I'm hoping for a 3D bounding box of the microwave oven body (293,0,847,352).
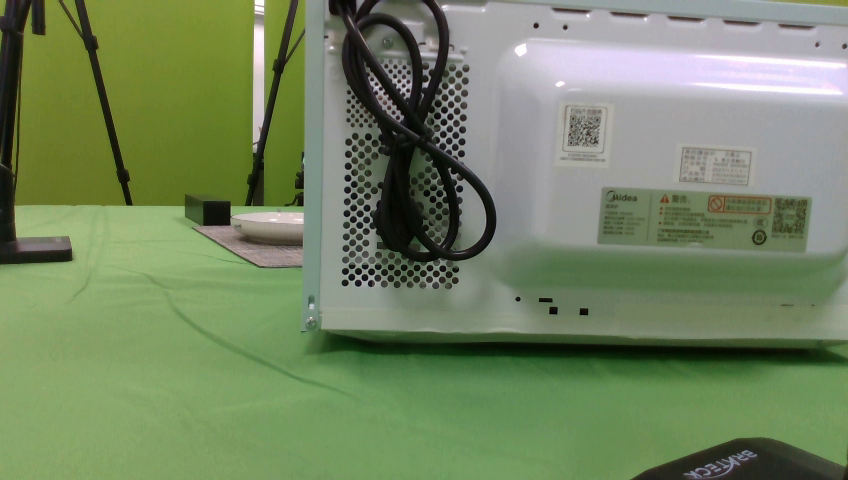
[{"bbox_3d":[0.122,-0.055,0.550,0.442,0.260,0.325,3,7,-5],"label":"microwave oven body"}]

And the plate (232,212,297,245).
[{"bbox_3d":[-0.214,-0.019,1.018,0.208,0.039,0.207,2,7,0],"label":"plate"}]

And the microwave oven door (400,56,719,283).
[{"bbox_3d":[0.155,-0.077,0.698,0.356,0.243,0.039,2,8,-5],"label":"microwave oven door"}]

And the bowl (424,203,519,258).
[{"bbox_3d":[0.073,-0.015,0.962,0.151,0.077,0.151,3,8,0],"label":"bowl"}]

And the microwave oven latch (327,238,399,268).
[{"bbox_3d":[-0.069,0.015,0.694,0.079,0.029,0.030,3,7,-3],"label":"microwave oven latch"}]
